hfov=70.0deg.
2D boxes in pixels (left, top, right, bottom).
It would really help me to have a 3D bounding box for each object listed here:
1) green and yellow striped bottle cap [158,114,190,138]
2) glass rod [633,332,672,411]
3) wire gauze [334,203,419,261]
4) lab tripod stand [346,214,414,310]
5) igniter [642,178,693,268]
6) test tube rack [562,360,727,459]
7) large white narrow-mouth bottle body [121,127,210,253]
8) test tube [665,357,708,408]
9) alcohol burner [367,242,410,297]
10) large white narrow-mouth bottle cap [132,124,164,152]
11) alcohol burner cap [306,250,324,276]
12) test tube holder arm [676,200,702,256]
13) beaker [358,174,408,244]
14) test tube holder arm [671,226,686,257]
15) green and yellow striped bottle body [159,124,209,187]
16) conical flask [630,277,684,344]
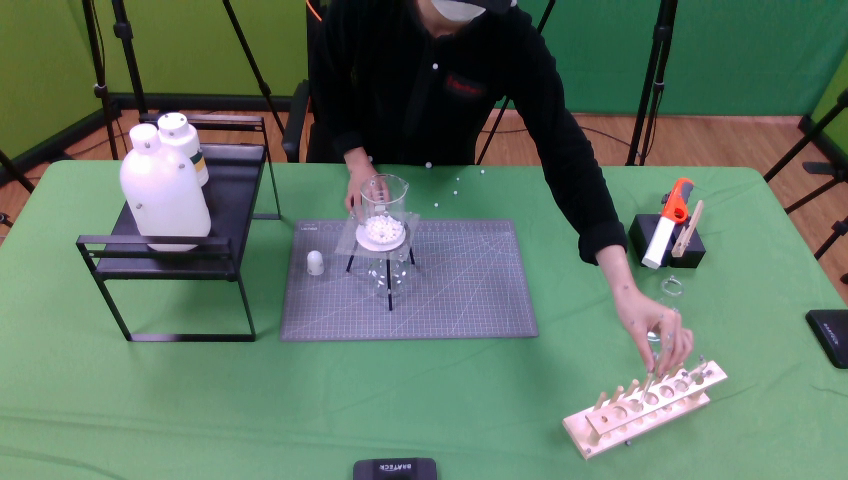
[{"bbox_3d":[-0.393,-0.179,0.951,0.045,0.020,0.045,2,44,-2],"label":"green and yellow striped bottle cap"},{"bbox_3d":[0.311,0.186,0.830,0.008,0.201,0.008,-1,46,1],"label":"glass rod"},{"bbox_3d":[-0.079,-0.013,1.031,0.121,0.011,0.124,8,48,7],"label":"wire gauze"},{"bbox_3d":[-0.075,0.030,1.082,0.148,0.132,0.147,1,47,-1],"label":"lab tripod stand"},{"bbox_3d":[0.488,-0.042,1.205,0.057,0.025,0.276,30,52,11],"label":"igniter"},{"bbox_3d":[0.341,0.247,0.940,0.243,0.085,0.066,-16,49,-18],"label":"test tube rack"},{"bbox_3d":[-0.378,-0.077,0.875,0.102,0.195,0.101,3,46,-3],"label":"large white narrow-mouth bottle body"},{"bbox_3d":[0.387,0.216,0.905,0.017,0.151,0.017,1,52,-1],"label":"test tube"},{"bbox_3d":[-0.064,0.047,1.080,0.078,0.120,0.077,1,47,-1],"label":"alcohol burner"},{"bbox_3d":[-0.371,-0.137,0.813,0.038,0.024,0.037,3,46,-3],"label":"large white narrow-mouth bottle cap"},{"bbox_3d":[-0.204,0.040,1.125,0.034,0.048,0.033,1,45,-1],"label":"alcohol burner cap"},{"bbox_3d":[0.522,-0.025,1.190,0.013,0.015,0.178,-1,35,41],"label":"test tube holder arm"},{"bbox_3d":[-0.066,-0.050,1.001,0.084,0.101,0.073,-18,49,-20],"label":"beaker"},{"bbox_3d":[0.494,0.001,1.166,0.010,0.015,0.087,0,35,42],"label":"test tube holder arm"},{"bbox_3d":[-0.395,-0.145,0.989,0.063,0.120,0.063,2,46,-2],"label":"green and yellow striped bottle body"},{"bbox_3d":[0.408,0.117,1.044,0.075,0.122,0.075,2,46,-2],"label":"conical flask"}]
